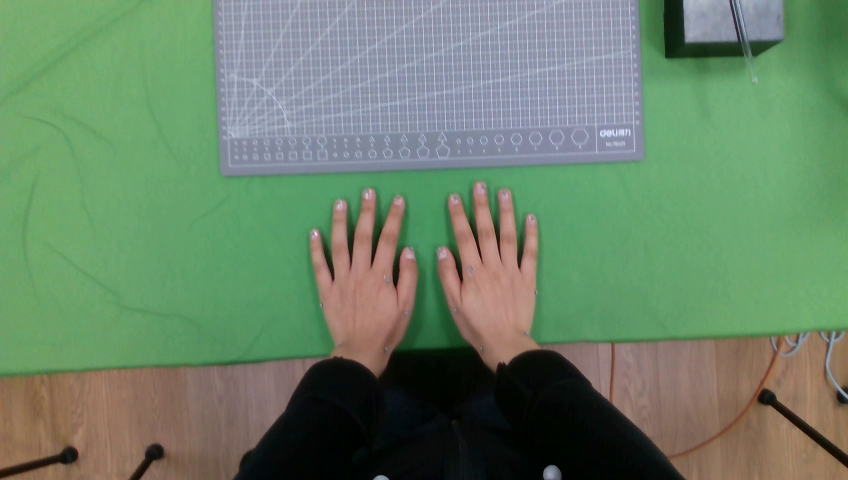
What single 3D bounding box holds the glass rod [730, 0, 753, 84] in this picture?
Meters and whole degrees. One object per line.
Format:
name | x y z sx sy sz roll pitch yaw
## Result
glass rod | 0.303 -0.252 0.599 0.008 0.008 0.199 -12 91 0
